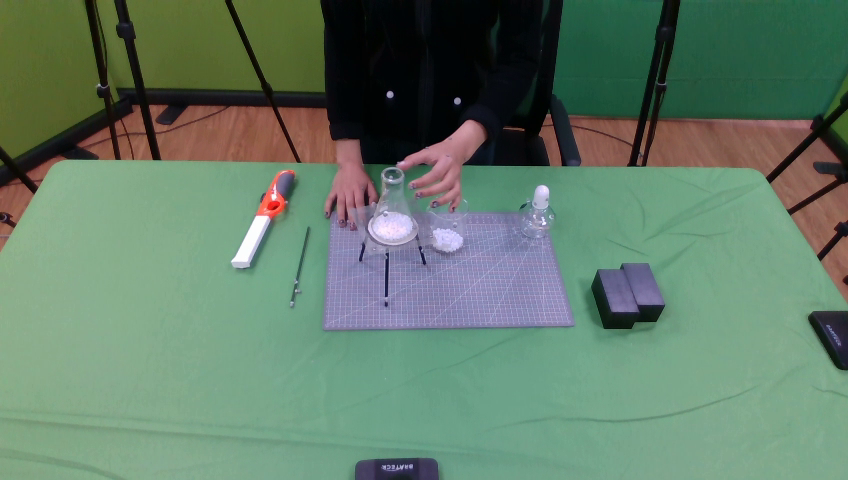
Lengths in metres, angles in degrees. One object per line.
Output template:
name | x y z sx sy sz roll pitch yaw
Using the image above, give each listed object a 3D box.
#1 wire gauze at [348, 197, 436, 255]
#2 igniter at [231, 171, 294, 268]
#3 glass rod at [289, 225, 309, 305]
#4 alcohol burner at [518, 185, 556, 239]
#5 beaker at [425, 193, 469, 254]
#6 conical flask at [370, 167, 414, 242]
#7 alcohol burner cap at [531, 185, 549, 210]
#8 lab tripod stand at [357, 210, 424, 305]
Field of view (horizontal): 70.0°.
wire gauze | -0.056 -0.025 1.046 0.125 0.011 0.120 -14 46 -15
igniter | -0.321 -0.051 1.220 0.057 0.025 0.275 2 45 12
glass rod | -0.236 0.043 1.149 0.008 0.008 0.198 3 46 -1
alcohol burner | 0.227 -0.061 1.210 0.078 0.120 0.077 1 45 -1
beaker | 0.042 -0.028 1.174 0.084 0.101 0.073 -5 46 -8
conical flask | -0.053 -0.062 1.000 0.075 0.122 0.075 2 44 -2
alcohol burner cap | 0.228 -0.085 1.183 0.034 0.048 0.033 -1 48 2
lab tripod stand | -0.060 0.020 1.094 0.148 0.132 0.147 3 44 -2
